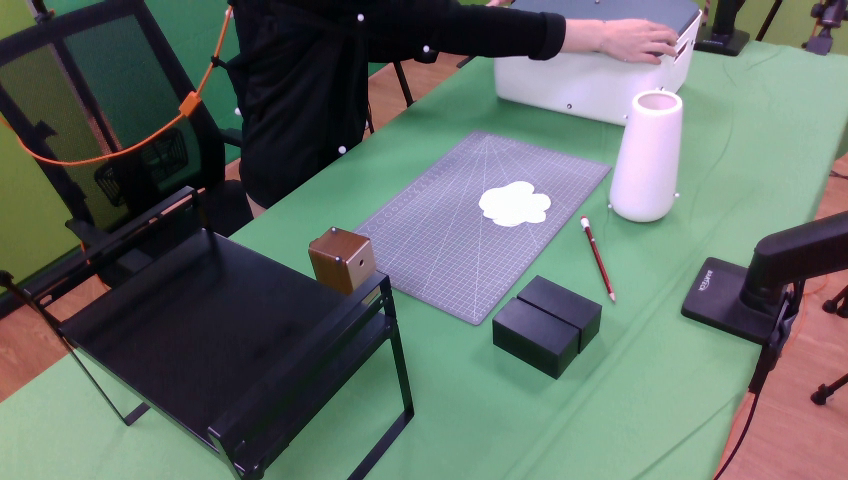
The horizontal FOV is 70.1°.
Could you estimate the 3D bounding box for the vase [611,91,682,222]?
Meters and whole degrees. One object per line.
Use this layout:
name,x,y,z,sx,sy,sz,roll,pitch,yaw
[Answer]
vase,0.348,-0.125,0.935,0.098,0.201,0.097,-3,40,3

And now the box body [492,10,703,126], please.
box body,0.352,-0.384,1.268,0.361,0.161,0.255,21,48,29

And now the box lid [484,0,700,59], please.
box lid,0.336,-0.442,1.216,0.368,0.015,0.264,19,48,29

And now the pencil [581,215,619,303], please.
pencil,0.266,0.025,0.916,0.012,0.012,0.193,-6,41,1

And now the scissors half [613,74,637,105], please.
scissors half,0.427,-0.330,1.306,0.013,0.040,0.174,31,31,-14

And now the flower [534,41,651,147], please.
flower,0.364,-0.319,1.318,0.038,0.044,0.359,-4,48,-49

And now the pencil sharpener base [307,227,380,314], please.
pencil sharpener base,-0.116,0.043,0.875,0.076,0.107,0.061,18,47,27

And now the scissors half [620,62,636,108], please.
scissors half,0.434,-0.340,1.298,0.013,0.040,0.174,25,42,-12

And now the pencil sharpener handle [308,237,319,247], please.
pencil sharpener handle,-0.158,0.017,0.892,0.030,0.068,0.036,18,61,28
